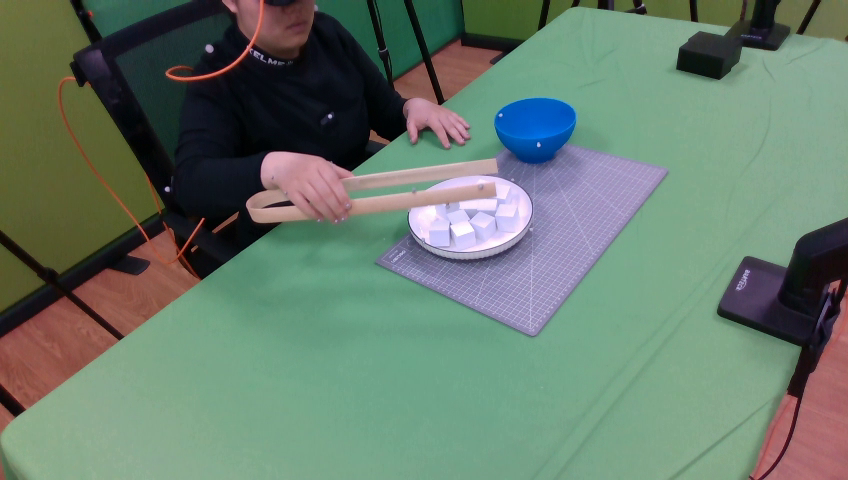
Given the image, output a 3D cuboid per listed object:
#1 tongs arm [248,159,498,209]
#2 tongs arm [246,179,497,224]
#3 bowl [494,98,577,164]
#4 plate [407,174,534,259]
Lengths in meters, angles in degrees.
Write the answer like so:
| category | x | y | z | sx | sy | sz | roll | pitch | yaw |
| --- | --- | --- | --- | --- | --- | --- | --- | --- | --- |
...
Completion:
| category | x | y | z | sx | sy | sz | roll | pitch | yaw |
| --- | --- | --- | --- | --- | --- | --- | --- | --- | --- |
| tongs arm | -0.080 | -0.083 | 0.922 | 0.387 | 0.028 | 0.028 | -8 | 39 | 9 |
| tongs arm | -0.085 | -0.061 | 0.890 | 0.384 | 0.026 | 0.050 | -7 | 35 | 9 |
| bowl | 0.207 | -0.196 | 1.128 | 0.151 | 0.077 | 0.150 | -5 | 40 | 5 |
| plate | 0.076 | -0.037 | 0.997 | 0.207 | 0.039 | 0.206 | -5 | 40 | 5 |
